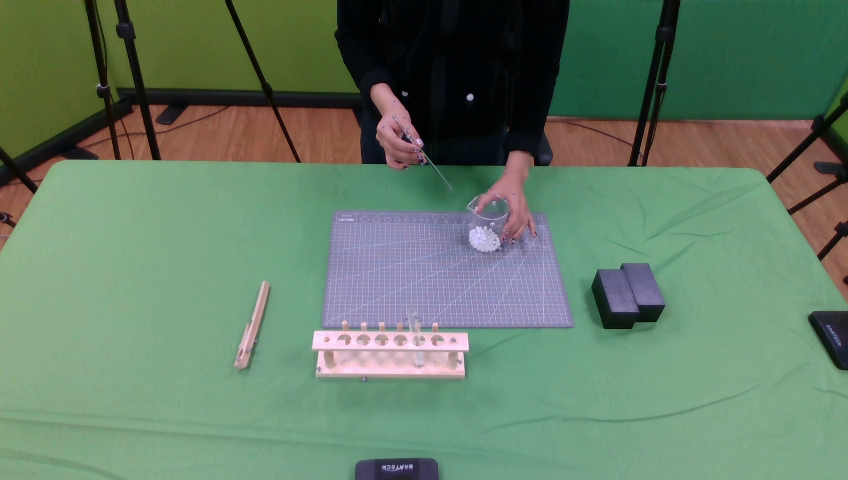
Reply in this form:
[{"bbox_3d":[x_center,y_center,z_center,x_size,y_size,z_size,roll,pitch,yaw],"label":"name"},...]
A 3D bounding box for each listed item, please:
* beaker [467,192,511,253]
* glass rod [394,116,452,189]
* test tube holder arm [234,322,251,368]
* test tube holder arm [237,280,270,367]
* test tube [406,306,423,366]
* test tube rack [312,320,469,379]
[{"bbox_3d":[0.121,-0.031,1.179,0.084,0.101,0.073,3,46,0],"label":"beaker"},{"bbox_3d":[0.002,-0.155,1.095,0.008,0.201,0.008,-20,47,24],"label":"glass rod"},{"bbox_3d":[-0.299,0.173,1.013,0.010,0.015,0.087,-16,42,22],"label":"test tube holder arm"},{"bbox_3d":[-0.291,0.140,1.042,0.013,0.015,0.177,-17,42,21],"label":"test tube holder arm"},{"bbox_3d":[-0.013,0.152,0.939,0.017,0.151,0.017,-3,48,3],"label":"test tube"},{"bbox_3d":[-0.054,0.173,0.984,0.242,0.085,0.066,1,46,-3],"label":"test tube rack"}]
